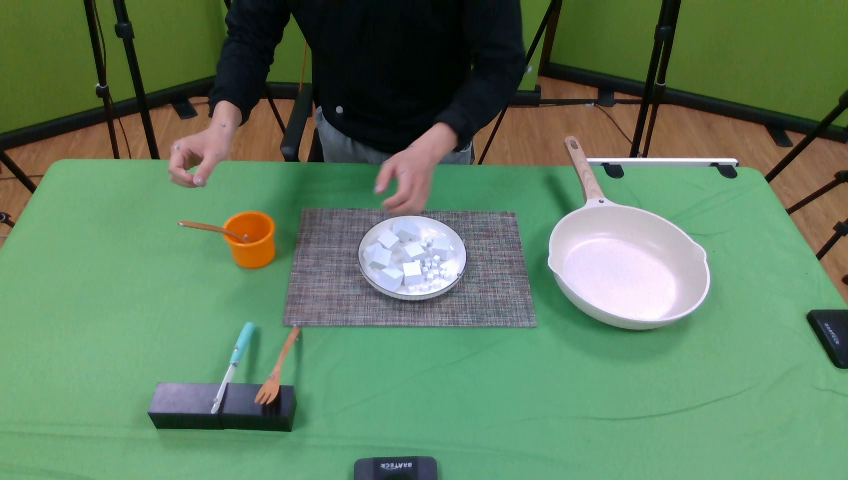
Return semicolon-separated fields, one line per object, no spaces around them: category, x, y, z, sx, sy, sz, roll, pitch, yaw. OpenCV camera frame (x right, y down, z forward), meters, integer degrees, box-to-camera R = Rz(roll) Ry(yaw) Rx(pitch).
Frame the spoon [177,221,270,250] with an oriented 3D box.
spoon;-0.358;-0.011;1.093;0.021;0.195;0.041;-52;54;10

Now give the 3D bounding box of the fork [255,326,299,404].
fork;-0.226;0.192;0.955;0.028;0.019;0.206;1;27;3

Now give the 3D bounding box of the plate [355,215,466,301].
plate;-0.025;0.038;1.143;0.208;0.039;0.206;3;46;-2

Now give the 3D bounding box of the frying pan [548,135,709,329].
frying pan;0.360;-0.033;1.200;0.307;0.103;0.484;-4;55;-9

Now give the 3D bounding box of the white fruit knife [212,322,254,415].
white fruit knife;-0.298;0.193;0.947;0.016;0.027;0.206;1;31;0
